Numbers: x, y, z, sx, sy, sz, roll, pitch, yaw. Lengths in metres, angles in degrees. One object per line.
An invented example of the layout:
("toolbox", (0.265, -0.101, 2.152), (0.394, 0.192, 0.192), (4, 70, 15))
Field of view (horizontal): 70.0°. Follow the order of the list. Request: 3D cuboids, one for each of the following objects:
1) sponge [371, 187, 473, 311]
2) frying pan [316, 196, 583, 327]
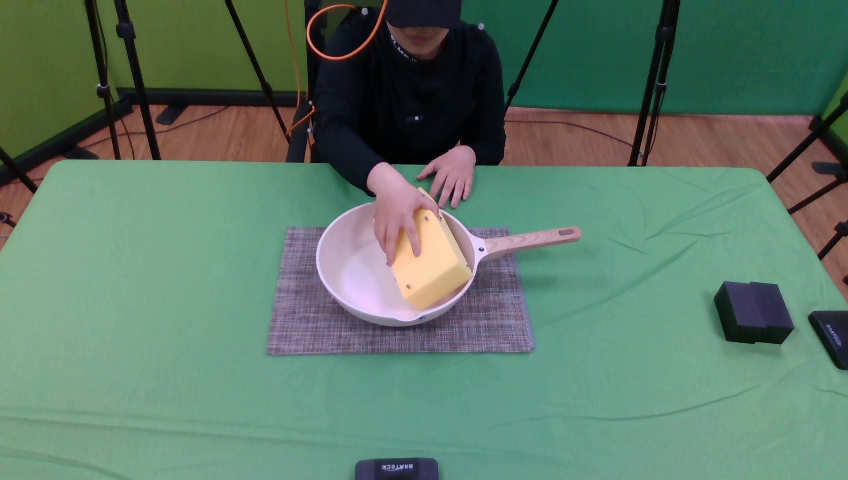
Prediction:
("sponge", (-0.008, 0.013, 1.111), (0.118, 0.061, 0.205), (-36, 49, 10))
("frying pan", (0.054, 0.027, 1.114), (0.488, 0.103, 0.304), (-9, 48, -1))
